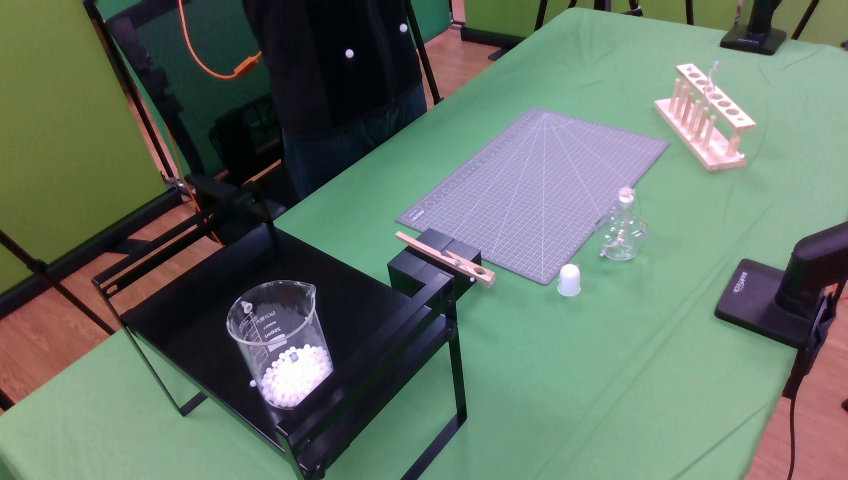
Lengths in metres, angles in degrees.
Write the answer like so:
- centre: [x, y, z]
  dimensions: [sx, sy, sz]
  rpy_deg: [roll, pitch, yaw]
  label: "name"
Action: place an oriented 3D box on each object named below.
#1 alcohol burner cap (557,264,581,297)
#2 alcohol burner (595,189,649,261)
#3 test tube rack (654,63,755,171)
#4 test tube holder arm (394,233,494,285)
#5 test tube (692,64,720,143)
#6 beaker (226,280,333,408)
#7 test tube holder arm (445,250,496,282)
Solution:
- centre: [0.208, 0.055, 0.866]
  dimensions: [0.034, 0.048, 0.033]
  rpy_deg: [-4, 42, 4]
  label: "alcohol burner cap"
- centre: [0.294, -0.028, 0.894]
  dimensions: [0.078, 0.119, 0.077]
  rpy_deg: [-4, 43, 4]
  label: "alcohol burner"
- centre: [0.510, -0.233, 1.120]
  dimensions: [0.067, 0.085, 0.241]
  rpy_deg: [-8, 41, -1]
  label: "test tube rack"
- centre: [0.024, 0.025, 0.872]
  dimensions: [0.177, 0.015, 0.013]
  rpy_deg: [22, 57, 31]
  label: "test tube holder arm"
- centre: [0.492, -0.236, 1.056]
  dimensions: [0.017, 0.151, 0.017]
  rpy_deg: [-3, 42, 3]
  label: "test tube"
- centre: [-0.123, 0.096, 0.546]
  dimensions: [0.073, 0.101, 0.084]
  rpy_deg: [27, 51, 33]
  label: "beaker"
- centre: [0.063, 0.036, 0.851]
  dimensions: [0.087, 0.015, 0.010]
  rpy_deg: [24, 57, 32]
  label: "test tube holder arm"
